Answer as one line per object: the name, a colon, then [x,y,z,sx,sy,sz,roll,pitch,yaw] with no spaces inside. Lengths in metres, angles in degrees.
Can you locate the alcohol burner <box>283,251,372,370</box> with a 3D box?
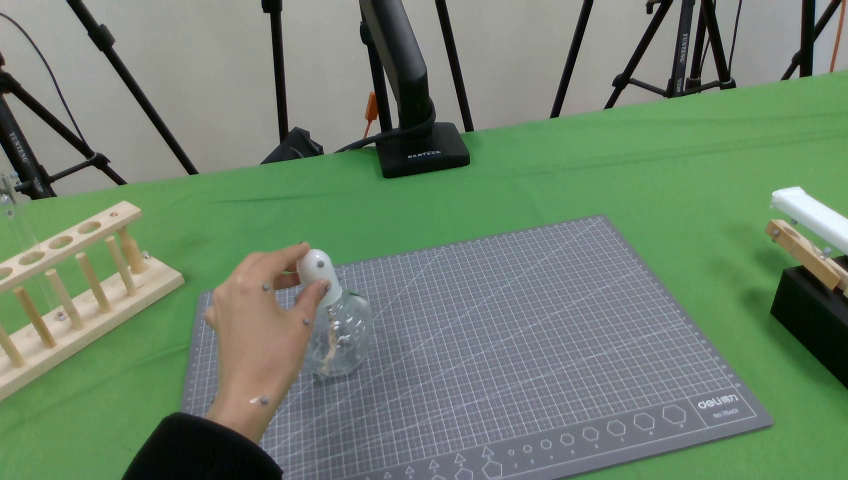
alcohol burner: [-0.084,0.054,0.512,0.078,0.120,0.077,-3,38,2]

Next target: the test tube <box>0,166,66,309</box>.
test tube: [-0.367,0.002,0.566,0.017,0.151,0.017,-3,30,2]

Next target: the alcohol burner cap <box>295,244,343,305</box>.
alcohol burner cap: [-0.087,0.025,0.491,0.034,0.048,0.033,-6,36,5]

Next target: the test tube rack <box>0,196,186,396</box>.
test tube rack: [-0.361,0.058,0.575,0.066,0.086,0.242,22,45,32]

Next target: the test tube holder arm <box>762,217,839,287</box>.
test tube holder arm: [0.323,0.008,0.518,0.010,0.015,0.087,-8,36,-10]

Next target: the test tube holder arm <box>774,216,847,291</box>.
test tube holder arm: [0.339,0.033,0.484,0.013,0.015,0.176,-9,36,-11]

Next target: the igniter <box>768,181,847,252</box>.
igniter: [0.381,0.022,0.486,0.057,0.025,0.273,-12,33,-6]
